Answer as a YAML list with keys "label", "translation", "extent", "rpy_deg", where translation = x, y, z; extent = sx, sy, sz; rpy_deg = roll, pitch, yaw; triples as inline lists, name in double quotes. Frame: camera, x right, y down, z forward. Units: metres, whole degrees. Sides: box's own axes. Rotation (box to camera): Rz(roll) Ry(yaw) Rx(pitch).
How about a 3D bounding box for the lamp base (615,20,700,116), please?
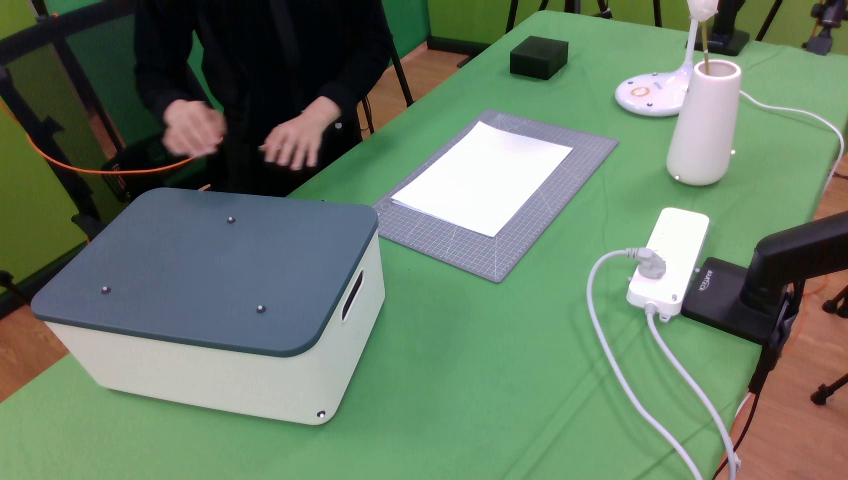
- label: "lamp base"
  translation: [0.484, -0.364, 1.211]
  extent: [0.180, 0.181, 0.159]
  rpy_deg: [-15, 41, -14]

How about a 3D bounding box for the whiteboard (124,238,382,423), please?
- label: "whiteboard"
  translation: [-0.242, 0.094, 0.810]
  extent: [0.304, 0.144, 0.216]
  rpy_deg: [4, 45, 13]

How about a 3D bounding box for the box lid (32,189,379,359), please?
- label: "box lid"
  translation: [-0.260, 0.025, 0.758]
  extent: [0.370, 0.015, 0.263]
  rpy_deg: [5, 41, 14]

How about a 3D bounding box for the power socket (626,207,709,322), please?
- label: "power socket"
  translation: [0.360, 0.026, 0.886]
  extent: [0.072, 0.033, 0.227]
  rpy_deg: [17, 46, 27]

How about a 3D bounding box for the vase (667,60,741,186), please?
- label: "vase"
  translation: [0.463, -0.189, 0.994]
  extent: [0.098, 0.201, 0.097]
  rpy_deg: [-4, 40, 4]

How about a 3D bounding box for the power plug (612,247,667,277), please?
- label: "power plug"
  translation: [0.306, 0.031, 0.852]
  extent: [0.072, 0.053, 0.035]
  rpy_deg: [21, 48, 38]

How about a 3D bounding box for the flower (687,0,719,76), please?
- label: "flower"
  translation: [0.436, -0.242, 0.934]
  extent: [0.038, 0.364, 0.043]
  rpy_deg: [-24, 49, 9]

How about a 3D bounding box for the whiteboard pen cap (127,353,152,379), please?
- label: "whiteboard pen cap"
  translation: [-0.385, 0.171, 0.820]
  extent: [0.018, 0.018, 0.033]
  rpy_deg: [7, 42, 16]

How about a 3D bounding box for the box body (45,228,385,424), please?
- label: "box body"
  translation: [-0.254, 0.081, 0.807]
  extent: [0.363, 0.161, 0.253]
  rpy_deg: [5, 42, 14]

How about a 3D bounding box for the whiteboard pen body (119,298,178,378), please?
- label: "whiteboard pen body"
  translation: [-0.396, 0.139, 0.869]
  extent: [0.017, 0.017, 0.140]
  rpy_deg: [6, 46, 15]
